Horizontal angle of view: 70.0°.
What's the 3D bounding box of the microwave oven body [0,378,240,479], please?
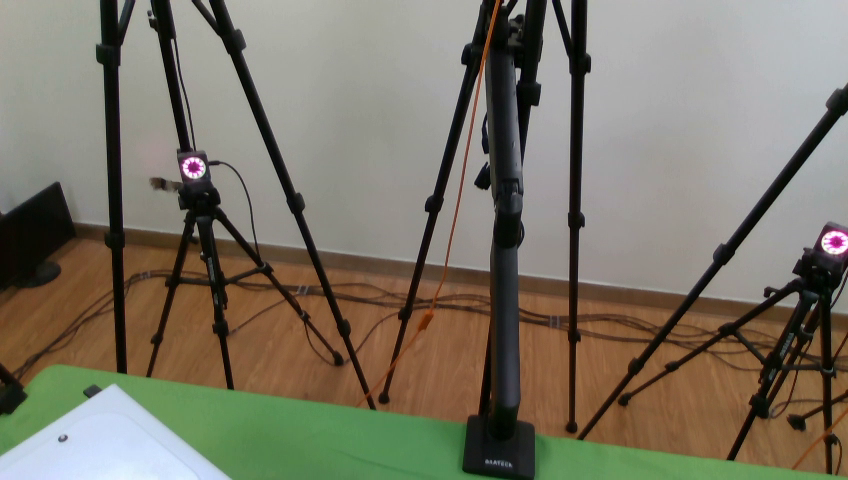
[{"bbox_3d":[-0.435,0.429,0.673,0.323,0.262,0.441,25,42,26],"label":"microwave oven body"}]
